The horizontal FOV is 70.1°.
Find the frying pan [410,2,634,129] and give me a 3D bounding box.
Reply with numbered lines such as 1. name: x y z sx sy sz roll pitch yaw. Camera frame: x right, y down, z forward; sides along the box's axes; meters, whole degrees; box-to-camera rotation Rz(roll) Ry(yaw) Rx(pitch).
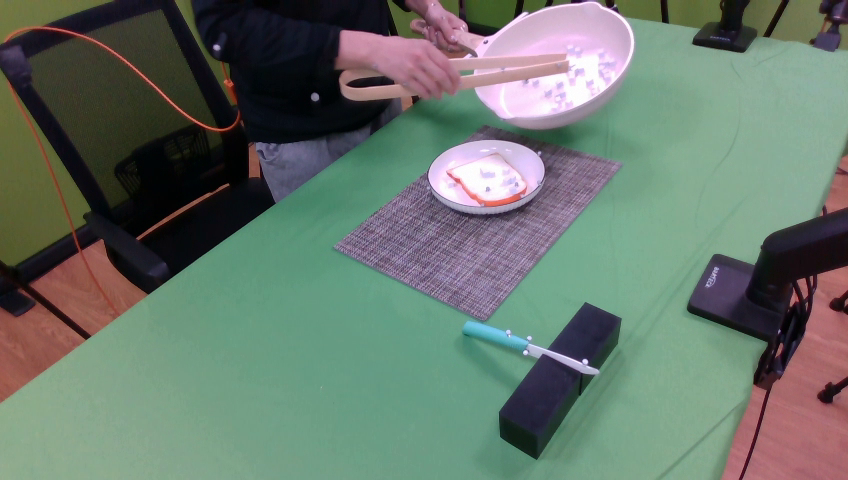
1. frying pan: 0.162 -0.361 1.171 0.484 0.103 0.307 30 72 29

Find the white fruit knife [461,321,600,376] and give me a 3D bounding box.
1. white fruit knife: 0.126 0.133 0.752 0.205 0.027 0.016 12 45 42

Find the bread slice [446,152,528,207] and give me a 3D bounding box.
1. bread slice: 0.117 -0.104 1.057 0.107 0.018 0.133 -24 42 -18

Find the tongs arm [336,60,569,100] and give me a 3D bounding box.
1. tongs arm: 0.050 -0.275 1.008 0.386 0.026 0.050 -11 56 -7

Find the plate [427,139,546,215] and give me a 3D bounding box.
1. plate: 0.109 -0.107 1.058 0.207 0.039 0.206 -4 40 4

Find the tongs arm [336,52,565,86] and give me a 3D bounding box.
1. tongs arm: 0.048 -0.289 1.018 0.388 0.028 0.028 -6 59 -4
